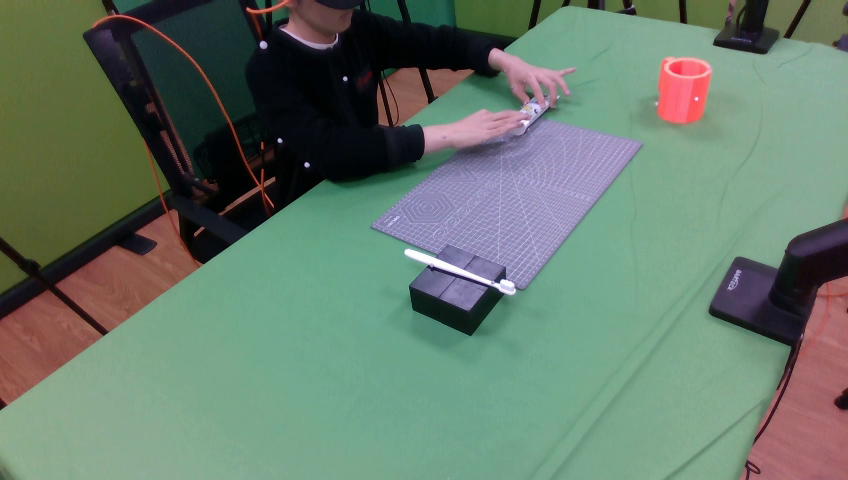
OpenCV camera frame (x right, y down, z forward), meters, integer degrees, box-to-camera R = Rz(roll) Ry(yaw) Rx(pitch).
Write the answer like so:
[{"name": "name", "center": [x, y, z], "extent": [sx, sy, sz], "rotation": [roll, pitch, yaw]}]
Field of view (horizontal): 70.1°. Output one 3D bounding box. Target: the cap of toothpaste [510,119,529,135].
[{"name": "cap of toothpaste", "center": [0.189, -0.225, 1.191], "extent": [0.037, 0.037, 0.011], "rotation": [5, 45, 14]}]

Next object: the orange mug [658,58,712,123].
[{"name": "orange mug", "center": [0.504, -0.304, 1.193], "extent": [0.083, 0.101, 0.125], "rotation": [-13, 45, -5]}]

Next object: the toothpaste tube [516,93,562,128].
[{"name": "toothpaste tube", "center": [0.231, -0.270, 1.247], "extent": [0.054, 0.034, 0.165], "rotation": [16, 42, 26]}]

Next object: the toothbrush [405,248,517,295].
[{"name": "toothbrush", "center": [0.048, 0.041, 0.850], "extent": [0.180, 0.017, 0.014], "rotation": [19, 52, 28]}]
